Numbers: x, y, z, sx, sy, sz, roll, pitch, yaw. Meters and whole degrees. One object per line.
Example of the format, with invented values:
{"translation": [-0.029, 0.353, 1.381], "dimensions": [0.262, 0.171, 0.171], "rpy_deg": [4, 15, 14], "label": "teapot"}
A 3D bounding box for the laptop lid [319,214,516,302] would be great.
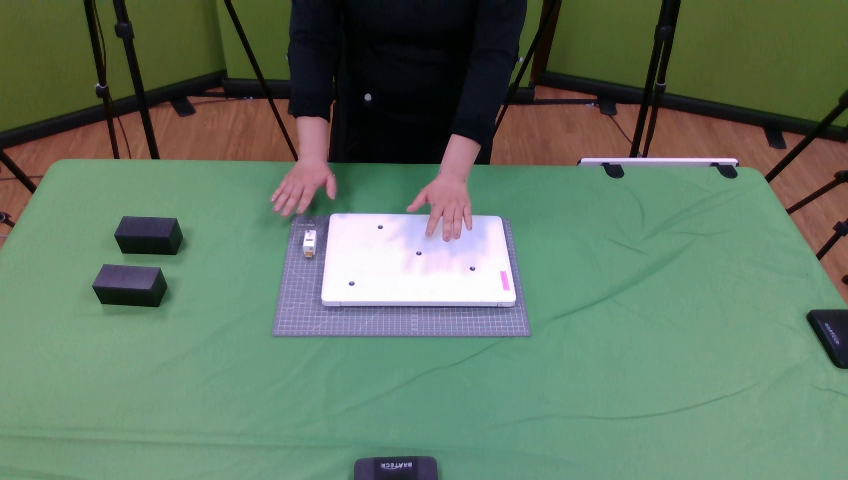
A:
{"translation": [-0.013, 0.029, 1.154], "dimensions": [0.357, 0.013, 0.240], "rpy_deg": [2, 43, -3], "label": "laptop lid"}

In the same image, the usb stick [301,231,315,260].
{"translation": [-0.222, 0.011, 1.163], "dimensions": [0.021, 0.027, 0.059], "rpy_deg": [3, 48, -4], "label": "usb stick"}

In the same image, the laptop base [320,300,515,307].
{"translation": [-0.013, 0.039, 1.160], "dimensions": [0.355, 0.023, 0.234], "rpy_deg": [0, 43, -4], "label": "laptop base"}
